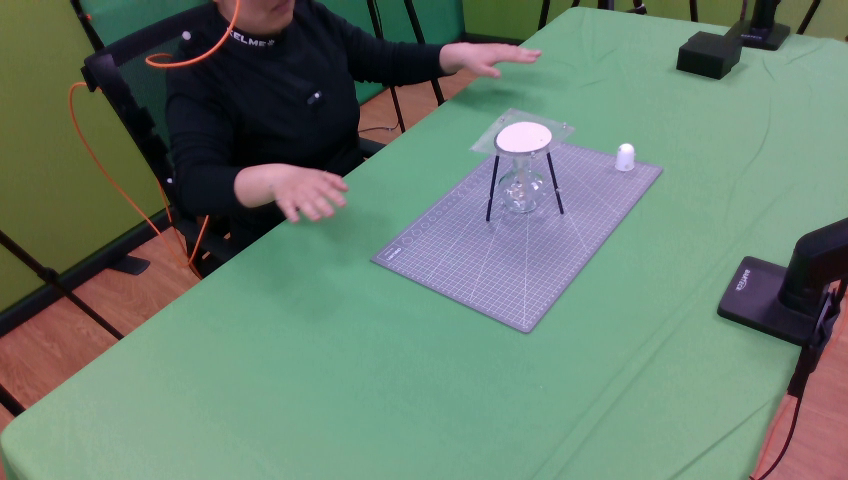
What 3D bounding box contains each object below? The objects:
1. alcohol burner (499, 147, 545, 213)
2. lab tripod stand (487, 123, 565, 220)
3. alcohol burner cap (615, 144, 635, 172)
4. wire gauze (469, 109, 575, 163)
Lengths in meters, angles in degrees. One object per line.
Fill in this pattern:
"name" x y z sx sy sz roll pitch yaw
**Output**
"alcohol burner" 0.161 -0.104 1.001 0.078 0.120 0.077 -6 42 6
"lab tripod stand" 0.162 -0.110 0.992 0.148 0.132 0.147 -5 42 5
"alcohol burner cap" 0.357 -0.147 1.069 0.034 0.048 0.033 -7 40 6
"wire gauze" 0.154 -0.163 0.950 0.120 0.011 0.125 22 50 32
